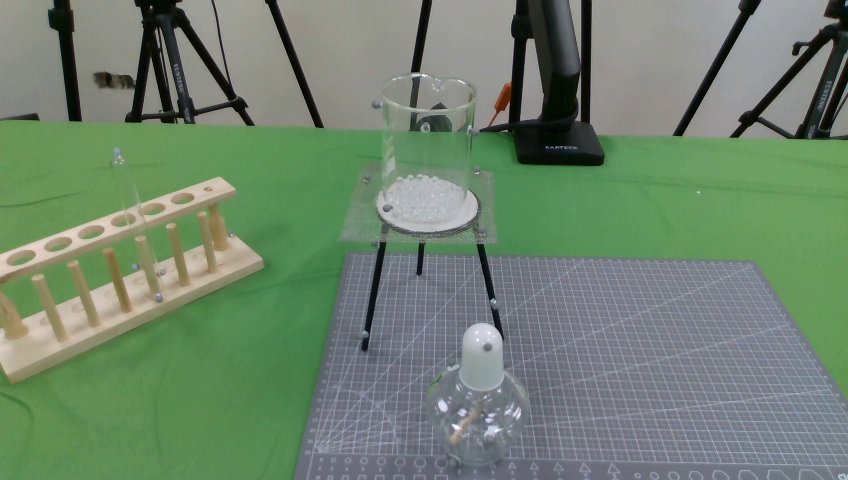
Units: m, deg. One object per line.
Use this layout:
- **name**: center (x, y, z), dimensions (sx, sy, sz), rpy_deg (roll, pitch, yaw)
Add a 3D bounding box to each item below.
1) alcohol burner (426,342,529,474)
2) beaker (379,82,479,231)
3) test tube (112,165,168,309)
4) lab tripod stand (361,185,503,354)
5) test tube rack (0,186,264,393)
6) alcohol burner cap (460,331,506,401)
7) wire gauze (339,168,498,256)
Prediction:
- **alcohol burner**: center (0.040, 0.114, 0.441), dimensions (0.078, 0.120, 0.077), rpy_deg (1, 37, -1)
- **beaker**: center (0.003, -0.066, 0.479), dimensions (0.074, 0.101, 0.083), rpy_deg (8, 35, 7)
- **test tube**: center (-0.256, 0.001, 0.548), dimensions (0.017, 0.151, 0.017), rpy_deg (1, 34, 0)
- **lab tripod stand**: center (0.007, 0.029, 0.545), dimensions (0.148, 0.132, 0.147), rpy_deg (2, 34, -1)
- **test tube rack**: center (-0.281, 0.036, 0.575), dimensions (0.242, 0.086, 0.066), rpy_deg (-27, 43, -34)
- **alcohol burner cap**: center (0.041, 0.084, 0.420), dimensions (0.034, 0.048, 0.033), rpy_deg (-1, 35, 1)
- **wire gauze**: center (-0.001, -0.025, 0.505), dimensions (0.121, 0.011, 0.124), rpy_deg (3, 37, 2)
